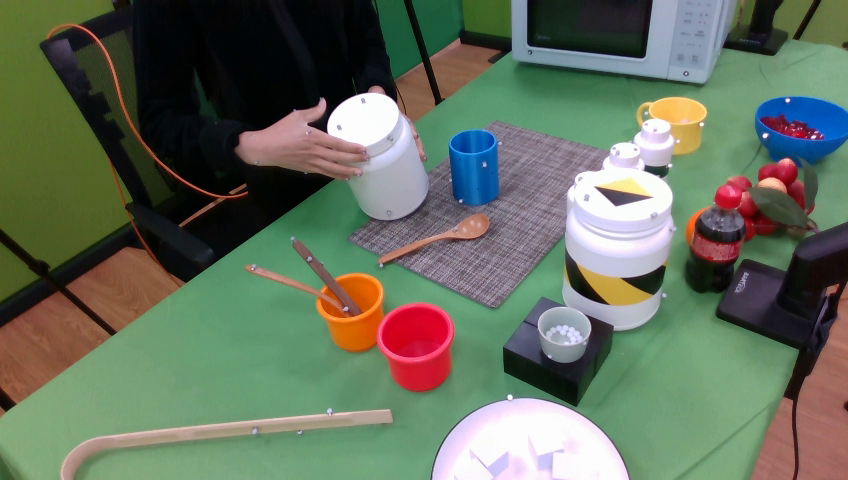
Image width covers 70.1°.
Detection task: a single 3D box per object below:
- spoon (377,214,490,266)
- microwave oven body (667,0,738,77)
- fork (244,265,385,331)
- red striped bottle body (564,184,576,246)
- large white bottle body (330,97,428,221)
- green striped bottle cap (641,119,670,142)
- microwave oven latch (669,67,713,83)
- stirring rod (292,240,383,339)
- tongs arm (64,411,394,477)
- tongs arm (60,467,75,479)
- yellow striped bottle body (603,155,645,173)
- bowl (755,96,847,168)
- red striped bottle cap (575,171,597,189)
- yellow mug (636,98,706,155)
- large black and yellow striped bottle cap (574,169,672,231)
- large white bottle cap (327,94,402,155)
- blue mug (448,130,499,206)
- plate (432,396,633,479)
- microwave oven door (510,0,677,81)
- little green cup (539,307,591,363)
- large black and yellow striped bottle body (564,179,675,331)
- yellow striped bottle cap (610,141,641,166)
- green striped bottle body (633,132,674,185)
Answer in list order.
[{"bbox_3d":[0.015,0.002,0.966,0.194,0.022,0.041,-18,62,-12],"label":"spoon"},{"bbox_3d":[0.462,-0.552,1.369,0.439,0.261,0.326,15,45,26],"label":"microwave oven body"},{"bbox_3d":[-0.142,0.078,0.806,0.209,0.018,0.028,30,33,-24],"label":"fork"},{"bbox_3d":[0.247,-0.041,0.910,0.063,0.120,0.062,-3,39,3],"label":"red striped bottle body"},{"bbox_3d":[-0.074,-0.131,0.991,0.130,0.186,0.130,-7,56,10],"label":"large white bottle body"},{"bbox_3d":[0.371,-0.175,0.968,0.044,0.020,0.044,-4,42,4],"label":"green striped bottle cap"},{"bbox_3d":[0.556,-0.349,1.261,0.078,0.029,0.030,16,46,27],"label":"microwave oven latch"},{"bbox_3d":[-0.118,0.068,0.826,0.176,0.006,0.014,48,59,-4],"label":"stirring rod"},{"bbox_3d":[-0.228,0.241,0.715,0.385,0.026,0.050,-5,44,4],"label":"tongs arm"},{"bbox_3d":[-0.239,0.302,0.649,0.386,0.028,0.028,6,49,16],"label":"tongs arm"},{"bbox_3d":[0.314,-0.090,0.957,0.063,0.121,0.062,-4,40,4],"label":"yellow striped bottle body"},{"bbox_3d":[0.645,-0.177,1.041,0.151,0.077,0.150,-5,40,4],"label":"bowl"},{"bbox_3d":[0.242,-0.081,0.876,0.044,0.018,0.044,-5,43,5],"label":"red striped bottle cap"},{"bbox_3d":[0.453,-0.217,1.128,0.100,0.064,0.129,-34,46,-27],"label":"yellow mug"},{"bbox_3d":[0.242,-0.051,0.738,0.115,0.019,0.114,-4,37,3],"label":"large black and yellow striped bottle cap"},{"bbox_3d":[-0.091,-0.178,0.924,0.114,0.018,0.114,-6,56,10],"label":"large white bottle cap"},{"bbox_3d":[0.091,-0.134,1.052,0.082,0.106,0.116,4,41,14],"label":"blue mug"},{"bbox_3d":[0.112,0.261,0.634,0.209,0.038,0.208,-5,40,4],"label":"plate"},{"bbox_3d":[0.354,-0.478,1.290,0.353,0.245,0.039,15,45,25],"label":"microwave oven door"},{"bbox_3d":[0.167,0.114,0.721,0.061,0.039,0.061,-4,43,4],"label":"little green cup"},{"bbox_3d":[0.253,0.014,0.793,0.131,0.185,0.130,-5,40,4],"label":"large black and yellow striped bottle body"},{"bbox_3d":[0.309,-0.131,0.925,0.044,0.019,0.044,-4,46,5],"label":"yellow striped bottle cap"},{"bbox_3d":[0.376,-0.135,1.001,0.063,0.120,0.063,-5,40,5],"label":"green striped bottle body"}]
